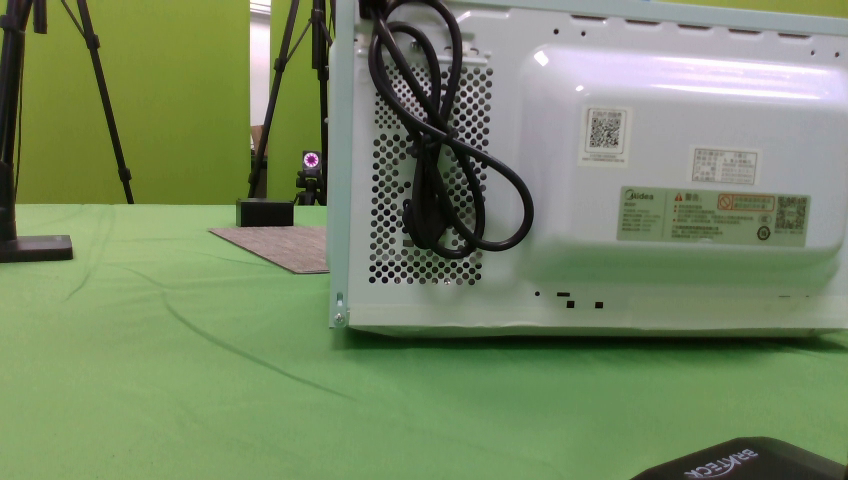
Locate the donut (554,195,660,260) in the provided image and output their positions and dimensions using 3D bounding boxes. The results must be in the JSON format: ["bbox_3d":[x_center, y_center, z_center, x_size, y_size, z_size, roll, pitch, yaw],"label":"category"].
[{"bbox_3d":[0.172,-0.014,0.573,0.099,0.048,0.099,-13,9,3],"label":"donut"}]

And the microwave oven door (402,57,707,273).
[{"bbox_3d":[0.156,-0.086,0.726,0.356,0.243,0.039,2,7,-5],"label":"microwave oven door"}]

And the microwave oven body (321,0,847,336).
[{"bbox_3d":[0.133,-0.062,0.568,0.443,0.260,0.325,2,7,-8],"label":"microwave oven body"}]

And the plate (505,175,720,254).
[{"bbox_3d":[0.184,-0.027,0.615,0.209,0.038,0.209,5,17,-1],"label":"plate"}]

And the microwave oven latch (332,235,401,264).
[{"bbox_3d":[-0.066,0.010,0.700,0.079,0.029,0.030,2,6,-7],"label":"microwave oven latch"}]
